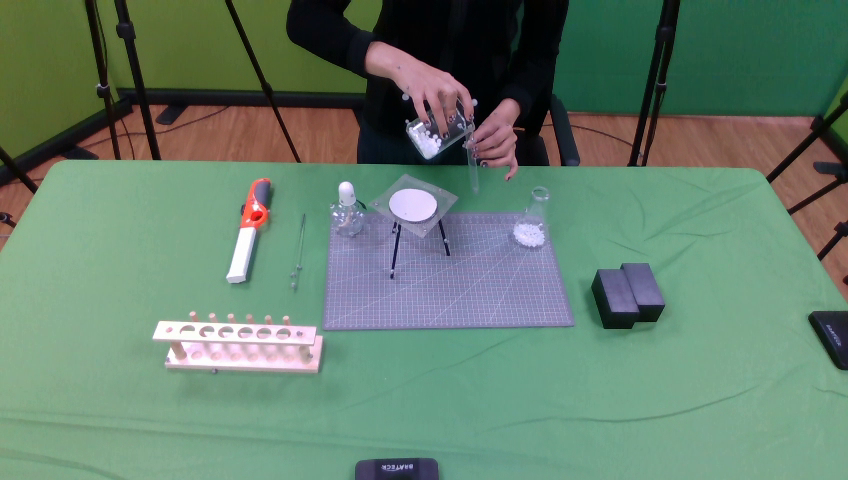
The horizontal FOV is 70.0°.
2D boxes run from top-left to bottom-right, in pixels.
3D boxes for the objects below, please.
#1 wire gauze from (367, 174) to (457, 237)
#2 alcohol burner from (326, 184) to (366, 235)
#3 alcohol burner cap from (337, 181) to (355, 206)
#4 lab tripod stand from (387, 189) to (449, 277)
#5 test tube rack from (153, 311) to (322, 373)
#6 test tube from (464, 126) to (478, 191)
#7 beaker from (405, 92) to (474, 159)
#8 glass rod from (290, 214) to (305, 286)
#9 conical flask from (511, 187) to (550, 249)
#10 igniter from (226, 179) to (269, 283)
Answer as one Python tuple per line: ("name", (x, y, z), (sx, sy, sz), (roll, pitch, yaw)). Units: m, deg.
("wire gauze", (-0.021, -0.068, 1.089), (0.124, 0.011, 0.121), (28, 49, 21))
("alcohol burner", (-0.152, -0.066, 1.184), (0.078, 0.119, 0.077), (4, 46, -4))
("alcohol burner cap", (-0.151, -0.090, 1.157), (0.034, 0.048, 0.033), (0, 52, 0))
("lab tripod stand", (-0.021, -0.018, 1.135), (0.148, 0.132, 0.147), (3, 44, -3))
("test tube rack", (-0.293, 0.160, 0.978), (0.242, 0.085, 0.066), (3, 46, -2))
("test tube", (0.087, -0.147, 1.119), (0.017, 0.151, 0.017), (-5, 48, 6))
("beaker", (0.025, -0.190, 1.030), (0.100, 0.084, 0.073), (-34, 53, 0))
("glass rod", (-0.245, 0.015, 1.176), (0.008, 0.008, 0.198), (1, 43, -3))
("conical flask", (0.217, -0.048, 1.190), (0.075, 0.122, 0.075), (2, 46, -2))
("igniter", (-0.345, -0.027, 1.195), (0.057, 0.025, 0.274), (-6, 46, 5))
